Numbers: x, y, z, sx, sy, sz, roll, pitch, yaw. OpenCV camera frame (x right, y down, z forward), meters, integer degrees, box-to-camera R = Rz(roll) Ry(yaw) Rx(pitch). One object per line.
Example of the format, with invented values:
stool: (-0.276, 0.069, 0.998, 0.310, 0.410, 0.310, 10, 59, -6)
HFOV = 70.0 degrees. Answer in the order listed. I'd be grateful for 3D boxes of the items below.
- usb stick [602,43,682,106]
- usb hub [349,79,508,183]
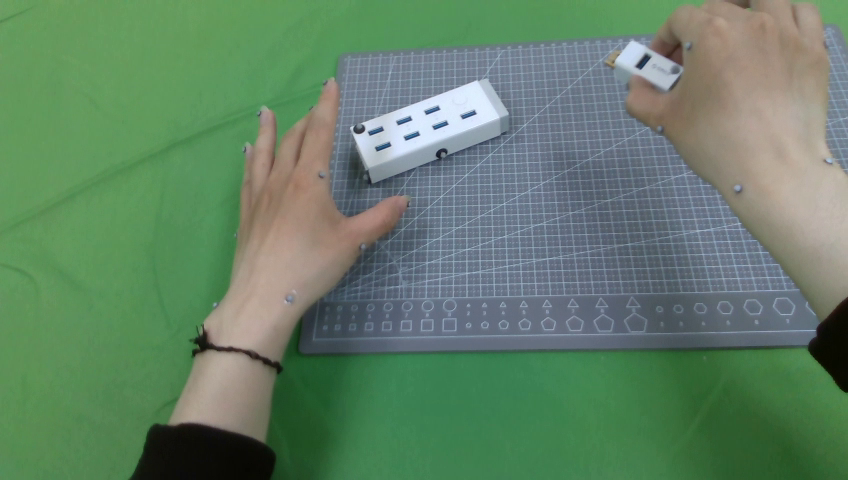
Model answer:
usb stick: (0.152, -0.121, 0.430, 0.058, 0.027, 0.021, 39, 92, 30)
usb hub: (0.004, -0.092, 0.506, 0.125, 0.025, 0.049, -21, 60, -7)
